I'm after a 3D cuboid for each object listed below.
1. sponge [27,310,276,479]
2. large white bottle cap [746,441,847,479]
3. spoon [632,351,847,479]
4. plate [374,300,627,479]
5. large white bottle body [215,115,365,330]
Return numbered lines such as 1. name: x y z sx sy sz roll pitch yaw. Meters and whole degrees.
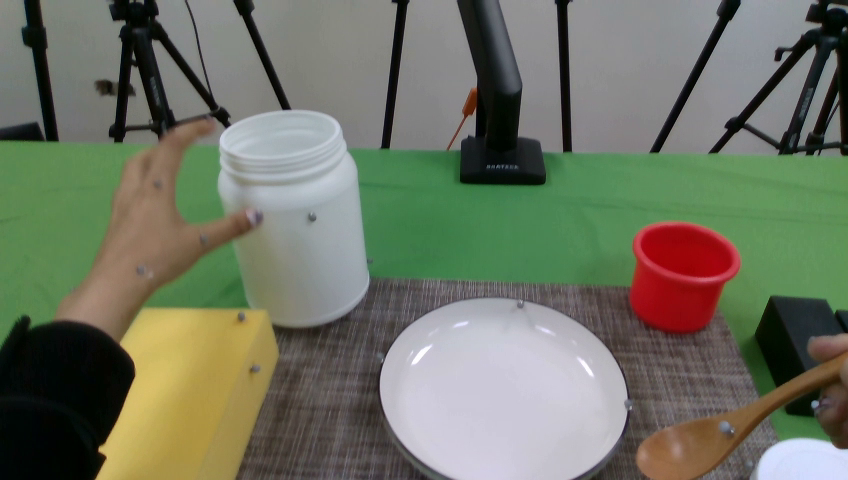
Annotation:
1. sponge: -0.206 0.146 0.483 0.118 0.061 0.205 0 35 4
2. large white bottle cap: 0.297 0.199 0.440 0.115 0.018 0.113 2 36 -1
3. spoon: 0.189 0.079 0.308 0.022 0.194 0.041 40 32 -9
4. plate: 0.063 0.132 0.516 0.209 0.038 0.207 0 35 0
5. large white bottle body: -0.130 -0.018 0.602 0.130 0.186 0.129 -2 34 1
